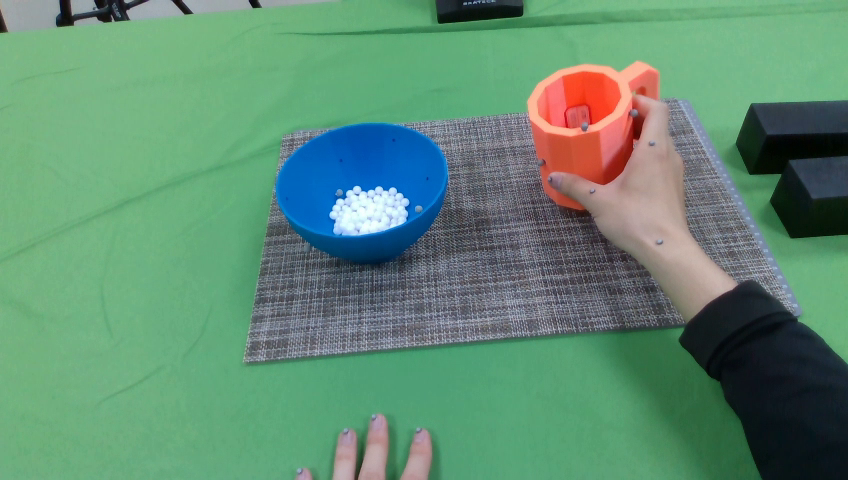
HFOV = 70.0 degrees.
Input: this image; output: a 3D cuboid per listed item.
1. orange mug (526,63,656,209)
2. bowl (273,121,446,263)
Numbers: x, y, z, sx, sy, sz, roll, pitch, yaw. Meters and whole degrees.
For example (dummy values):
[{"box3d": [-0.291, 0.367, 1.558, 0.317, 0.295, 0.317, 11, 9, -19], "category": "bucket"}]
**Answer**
[{"box3d": [0.156, -0.102, 0.548, 0.126, 0.102, 0.082, -35, 50, -3], "category": "orange mug"}, {"box3d": [-0.053, -0.032, 0.550, 0.151, 0.077, 0.150, -3, 48, 4], "category": "bowl"}]
